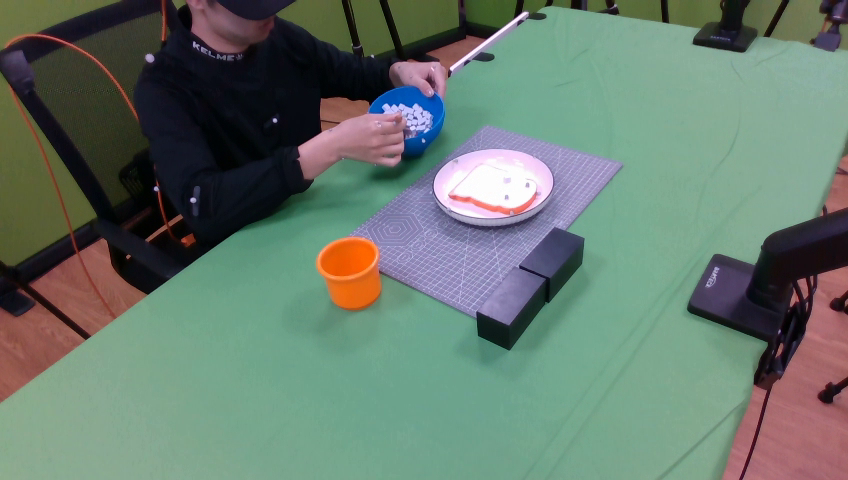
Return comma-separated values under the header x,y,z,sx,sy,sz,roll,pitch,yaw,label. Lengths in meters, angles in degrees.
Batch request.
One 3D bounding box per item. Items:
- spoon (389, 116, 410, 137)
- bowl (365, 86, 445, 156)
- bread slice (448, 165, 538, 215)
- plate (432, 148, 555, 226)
x,y,z,sx,sy,sz,roll,pitch,yaw,label
-0.046,-0.207,1.087,0.041,0.021,0.193,-4,0,0,spoon
-0.030,-0.216,1.158,0.151,0.077,0.150,-5,53,7,bowl
0.126,-0.085,1.038,0.133,0.018,0.107,16,45,27,bread slice
0.119,-0.087,1.037,0.209,0.038,0.208,-4,40,4,plate
